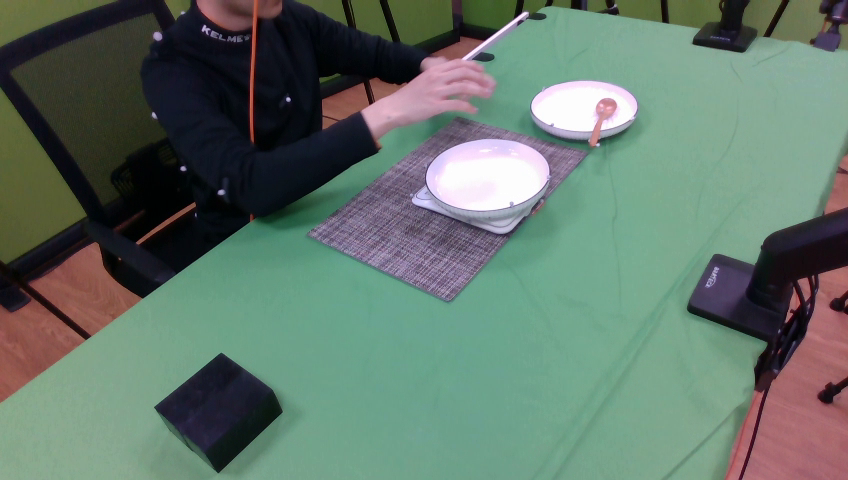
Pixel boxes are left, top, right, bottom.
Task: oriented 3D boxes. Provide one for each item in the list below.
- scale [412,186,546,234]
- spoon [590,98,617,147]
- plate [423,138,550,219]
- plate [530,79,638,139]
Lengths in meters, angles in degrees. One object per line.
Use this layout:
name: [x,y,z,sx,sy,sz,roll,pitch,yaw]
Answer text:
scale: [0.093,-0.083,1.038,0.199,0.032,0.149,22,48,30]
spoon: [0.334,-0.225,1.145,0.041,0.022,0.194,11,37,20]
plate: [0.104,-0.099,1.005,0.207,0.039,0.206,-4,41,4]
plate: [0.317,-0.257,1.209,0.209,0.038,0.208,-4,41,4]
